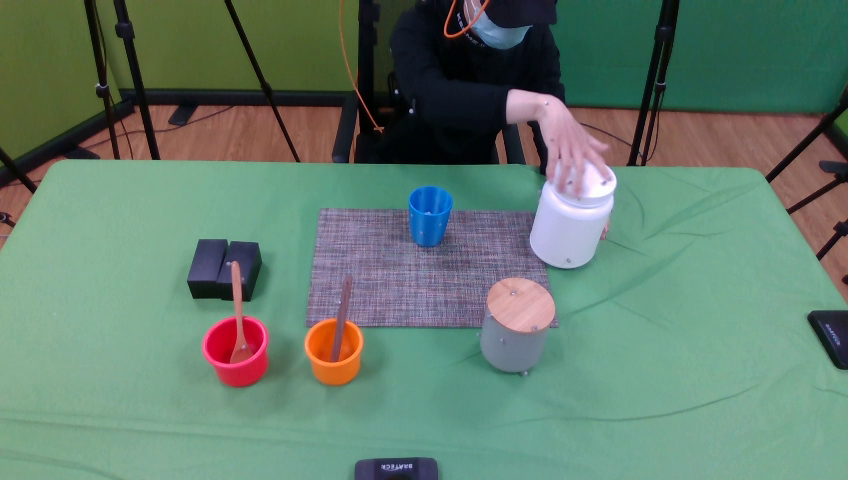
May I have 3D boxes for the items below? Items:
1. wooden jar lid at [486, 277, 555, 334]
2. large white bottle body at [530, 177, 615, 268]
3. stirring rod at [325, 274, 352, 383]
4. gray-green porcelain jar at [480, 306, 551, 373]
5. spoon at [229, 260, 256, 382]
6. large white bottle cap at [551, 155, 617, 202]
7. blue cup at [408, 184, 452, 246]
[{"bbox_3d":[0.150,0.105,0.948,0.108,0.021,0.107,3,47,-3],"label":"wooden jar lid"},{"bbox_3d":[0.280,-0.050,1.142,0.131,0.185,0.130,3,47,-3],"label":"large white bottle body"},{"bbox_3d":[-0.137,0.142,0.971,0.014,0.006,0.176,10,88,0],"label":"stirring rod"},{"bbox_3d":[0.148,0.148,0.992,0.106,0.127,0.105,2,46,-2],"label":"gray-green porcelain jar"},{"bbox_3d":[-0.294,0.129,0.966,0.042,0.021,0.193,-4,91,-8],"label":"spoon"},{"bbox_3d":[0.285,-0.110,1.080,0.115,0.018,0.114,2,46,-2],"label":"large white bottle cap"},{"bbox_3d":[0.008,-0.042,1.177,0.093,0.101,0.092,3,48,-3],"label":"blue cup"}]
